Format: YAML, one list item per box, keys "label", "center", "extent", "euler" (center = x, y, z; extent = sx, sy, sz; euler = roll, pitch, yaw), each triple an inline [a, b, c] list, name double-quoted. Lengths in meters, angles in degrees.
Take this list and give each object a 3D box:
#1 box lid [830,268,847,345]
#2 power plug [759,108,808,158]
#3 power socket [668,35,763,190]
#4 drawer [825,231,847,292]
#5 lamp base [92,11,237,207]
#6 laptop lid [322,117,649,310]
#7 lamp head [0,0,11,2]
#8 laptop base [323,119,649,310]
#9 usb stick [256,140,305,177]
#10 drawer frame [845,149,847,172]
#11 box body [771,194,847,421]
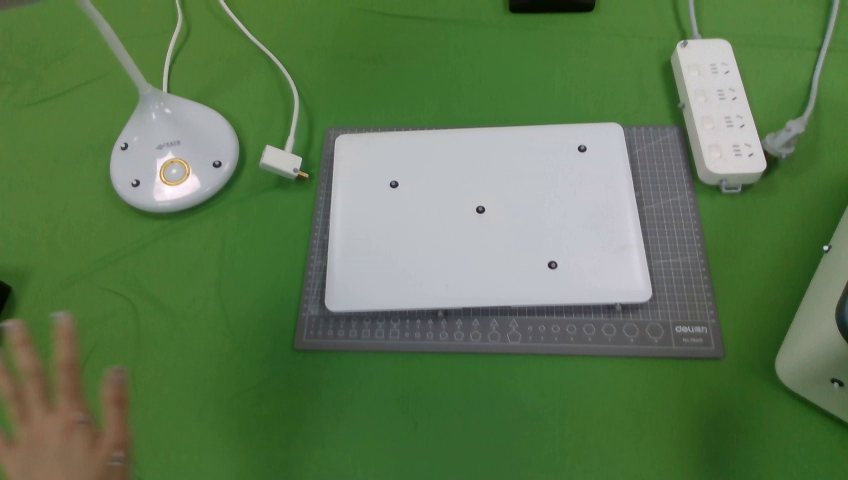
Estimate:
- label: "box lid"
  center: [0.527, -0.002, 0.501]
  extent: [0.262, 0.015, 0.370]
  euler: [31, 70, 17]
- label: "power plug"
  center: [0.429, -0.121, 0.717]
  extent: [0.073, 0.053, 0.035]
  euler: [-16, 58, -24]
- label: "power socket"
  center: [0.356, -0.166, 0.747]
  extent: [0.072, 0.033, 0.225]
  euler: [0, 63, 2]
- label: "drawer"
  center: [0.554, -0.004, 0.610]
  extent: [0.193, 0.074, 0.211]
  euler: [30, 74, 20]
- label: "lamp base"
  center: [-0.325, -0.155, 0.696]
  extent: [0.161, 0.182, 0.177]
  euler: [-25, 62, -10]
- label: "laptop lid"
  center: [0.063, -0.037, 0.693]
  extent: [0.356, 0.013, 0.240]
  euler: [-1, 66, 3]
- label: "lamp head"
  center: [-0.307, -0.234, 0.424]
  extent: [0.112, 0.123, 0.111]
  euler: [-15, 18, 5]
- label: "laptop base"
  center: [0.064, -0.034, 0.705]
  extent: [0.354, 0.023, 0.233]
  euler: [-2, 67, 2]
- label: "usb stick"
  center: [-0.171, -0.096, 0.736]
  extent: [0.059, 0.021, 0.027]
  euler: [24, 67, -22]
- label: "drawer frame"
  center: [0.532, -0.013, 0.567]
  extent: [0.083, 0.213, 0.202]
  euler: [-28, 99, 3]
- label: "box body"
  center: [0.530, 0.032, 0.566]
  extent: [0.252, 0.161, 0.363]
  euler: [31, 69, 17]
